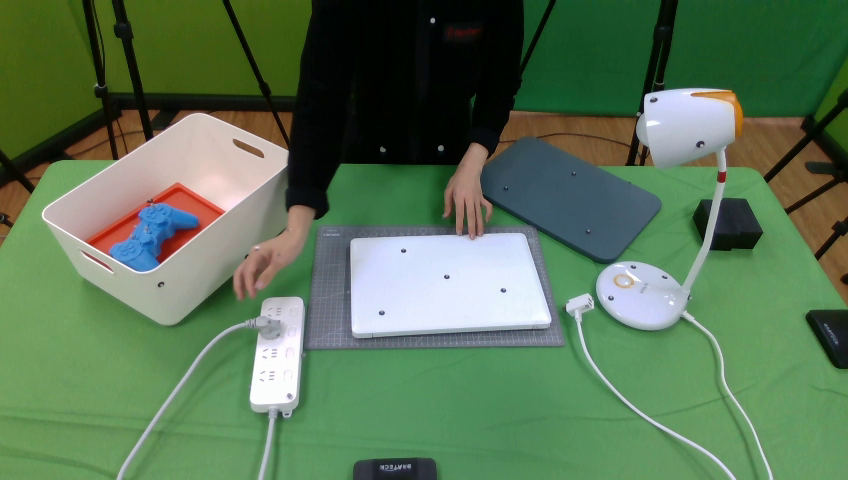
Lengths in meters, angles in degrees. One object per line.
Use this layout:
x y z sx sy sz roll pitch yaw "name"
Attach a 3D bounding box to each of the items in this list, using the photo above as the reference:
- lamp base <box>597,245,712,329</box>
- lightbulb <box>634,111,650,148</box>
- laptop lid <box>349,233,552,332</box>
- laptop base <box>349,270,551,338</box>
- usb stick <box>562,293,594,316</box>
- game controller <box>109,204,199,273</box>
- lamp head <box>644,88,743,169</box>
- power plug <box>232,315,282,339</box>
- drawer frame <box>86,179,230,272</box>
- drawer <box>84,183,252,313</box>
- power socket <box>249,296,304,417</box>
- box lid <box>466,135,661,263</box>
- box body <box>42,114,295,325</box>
0.418 0.051 1.071 0.179 0.181 0.160 22 49 13 "lamp base"
0.348 -0.163 0.852 0.059 0.060 0.107 -36 19 -32 "lightbulb"
0.040 0.071 1.119 0.357 0.013 0.240 -1 44 -5 "laptop lid"
0.039 0.080 1.125 0.355 0.023 0.234 -2 43 -6 "laptop base"
0.274 0.118 1.087 0.021 0.059 0.027 40 44 -28 "usb stick"
-0.467 -0.004 1.044 0.097 0.052 0.154 9 46 9 "game controller"
0.380 -0.160 0.851 0.122 0.113 0.112 -4 42 25 "lamp head"
-0.271 0.143 1.000 0.072 0.053 0.035 6 47 4 "power plug"
-0.453 0.010 1.100 0.201 0.083 0.213 28 55 22 "drawer frame"
-0.457 0.008 1.099 0.194 0.073 0.211 29 49 21 "drawer"
-0.239 0.182 0.996 0.072 0.033 0.225 -2 47 -5 "power socket"
0.306 -0.102 1.327 0.370 0.015 0.263 32 52 25 "box lid"
-0.437 -0.046 1.110 0.253 0.161 0.363 24 49 19 "box body"
